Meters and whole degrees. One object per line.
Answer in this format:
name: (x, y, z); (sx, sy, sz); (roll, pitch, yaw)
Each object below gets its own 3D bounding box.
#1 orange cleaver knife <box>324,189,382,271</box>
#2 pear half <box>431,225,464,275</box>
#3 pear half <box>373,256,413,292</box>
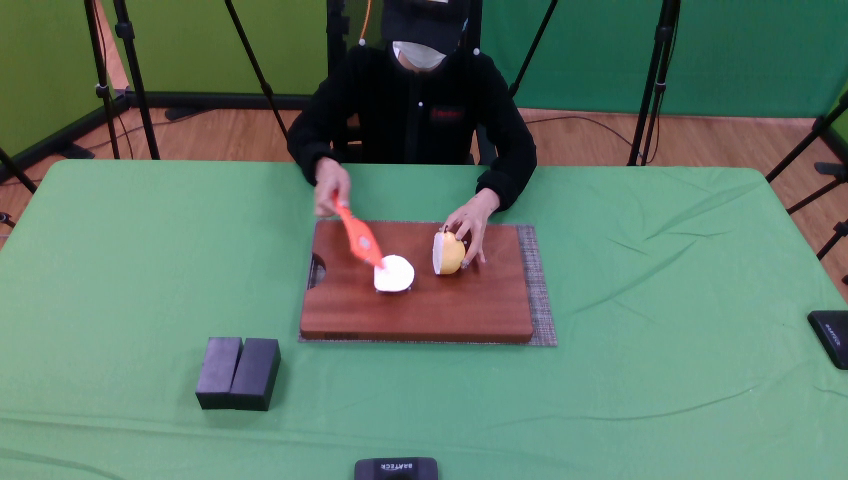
orange cleaver knife: (-0.128, -0.020, 1.083); (0.077, 0.012, 0.210); (26, 24, -42)
pear half: (0.046, 0.012, 1.091); (0.056, 0.110, 0.076); (-9, 51, -13)
pear half: (-0.061, 0.068, 1.080); (0.070, 0.031, 0.088); (37, 53, 15)
